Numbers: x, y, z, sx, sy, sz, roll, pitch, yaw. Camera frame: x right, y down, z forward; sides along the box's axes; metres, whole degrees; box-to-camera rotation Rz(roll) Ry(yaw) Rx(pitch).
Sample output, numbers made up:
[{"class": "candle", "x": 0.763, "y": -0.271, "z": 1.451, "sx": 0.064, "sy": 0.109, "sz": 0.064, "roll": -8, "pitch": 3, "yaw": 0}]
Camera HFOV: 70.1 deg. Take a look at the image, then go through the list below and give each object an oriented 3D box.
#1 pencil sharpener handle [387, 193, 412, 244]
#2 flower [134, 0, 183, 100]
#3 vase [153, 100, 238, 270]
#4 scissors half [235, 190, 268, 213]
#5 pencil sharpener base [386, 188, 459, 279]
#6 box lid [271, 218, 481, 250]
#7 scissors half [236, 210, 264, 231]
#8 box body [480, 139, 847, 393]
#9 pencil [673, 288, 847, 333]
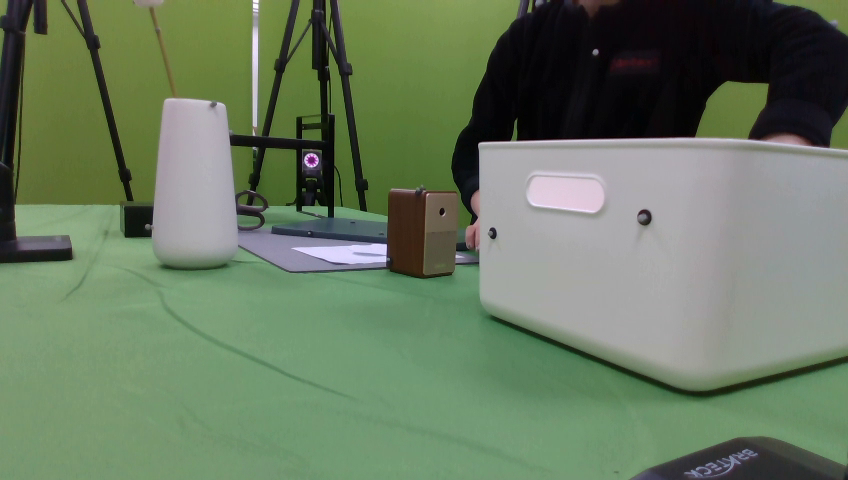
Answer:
[{"class": "pencil sharpener handle", "x": -0.038, "y": -0.029, "z": 0.797, "sx": 0.036, "sy": 0.068, "sz": 0.030, "roll": -13, "pitch": 16, "yaw": -42}, {"class": "flower", "x": -0.282, "y": -0.147, "z": 0.713, "sx": 0.038, "sy": 0.362, "sz": 0.044, "roll": -23, "pitch": 24, "yaw": -31}, {"class": "vase", "x": -0.278, "y": -0.066, "z": 0.736, "sx": 0.098, "sy": 0.200, "sz": 0.098, "roll": 2, "pitch": 9, "yaw": 0}, {"class": "scissors half", "x": -0.363, "y": -0.070, "z": 1.060, "sx": 0.176, "sy": 0.040, "sz": 0.013, "roll": 0, "pitch": 16, "yaw": -23}, {"class": "pencil sharpener base", "x": -0.004, "y": -0.011, "z": 0.761, "sx": 0.062, "sy": 0.107, "sz": 0.076, "roll": -5, "pitch": 10, "yaw": -44}, {"class": "box lid", "x": -0.072, "y": -0.014, "z": 1.141, "sx": 0.371, "sy": 0.015, "sz": 0.264, "roll": 5, "pitch": 7, "yaw": 16}, {"class": "scissors half", "x": -0.369, "y": -0.051, "z": 1.065, "sx": 0.176, "sy": 0.040, "sz": 0.012, "roll": 19, "pitch": 13, "yaw": -27}, {"class": "box body", "x": 0.255, "y": 0.002, "z": 0.541, "sx": 0.366, "sy": 0.160, "sz": 0.253, "roll": -2, "pitch": 8, "yaw": -31}, {"class": "pencil", "x": 0.331, "y": 0.066, "z": 0.609, "sx": 0.012, "sy": 0.012, "sz": 0.193, "roll": -1, "pitch": 7, "yaw": -28}]
